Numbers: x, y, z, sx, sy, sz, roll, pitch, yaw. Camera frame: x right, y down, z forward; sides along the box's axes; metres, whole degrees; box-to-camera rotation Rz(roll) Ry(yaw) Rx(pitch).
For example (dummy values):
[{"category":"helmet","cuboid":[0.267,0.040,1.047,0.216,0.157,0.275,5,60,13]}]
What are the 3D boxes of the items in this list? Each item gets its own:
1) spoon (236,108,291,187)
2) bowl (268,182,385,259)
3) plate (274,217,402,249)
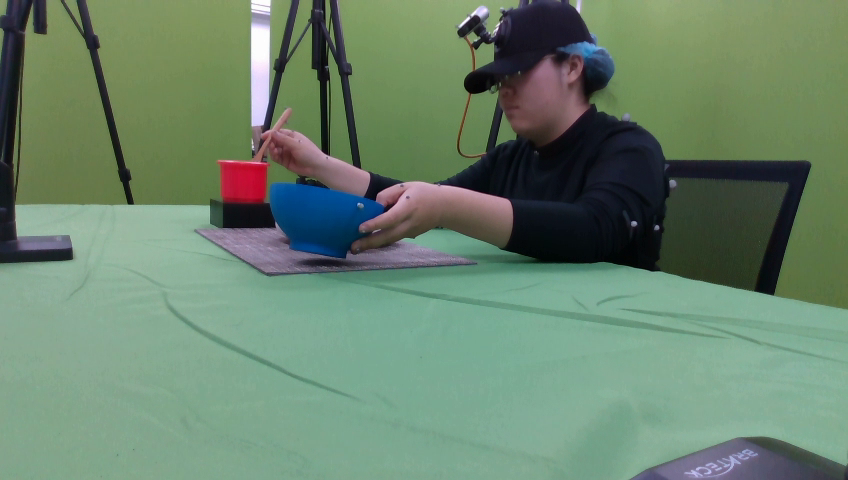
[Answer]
[{"category":"spoon","cuboid":[-0.310,-0.183,1.189,0.041,0.193,0.021,23,-16,12]},{"category":"bowl","cuboid":[-0.131,-0.019,0.783,0.151,0.076,0.151,10,-4,1]},{"category":"plate","cuboid":[-0.140,-0.015,0.993,0.208,0.039,0.207,3,8,0]}]
